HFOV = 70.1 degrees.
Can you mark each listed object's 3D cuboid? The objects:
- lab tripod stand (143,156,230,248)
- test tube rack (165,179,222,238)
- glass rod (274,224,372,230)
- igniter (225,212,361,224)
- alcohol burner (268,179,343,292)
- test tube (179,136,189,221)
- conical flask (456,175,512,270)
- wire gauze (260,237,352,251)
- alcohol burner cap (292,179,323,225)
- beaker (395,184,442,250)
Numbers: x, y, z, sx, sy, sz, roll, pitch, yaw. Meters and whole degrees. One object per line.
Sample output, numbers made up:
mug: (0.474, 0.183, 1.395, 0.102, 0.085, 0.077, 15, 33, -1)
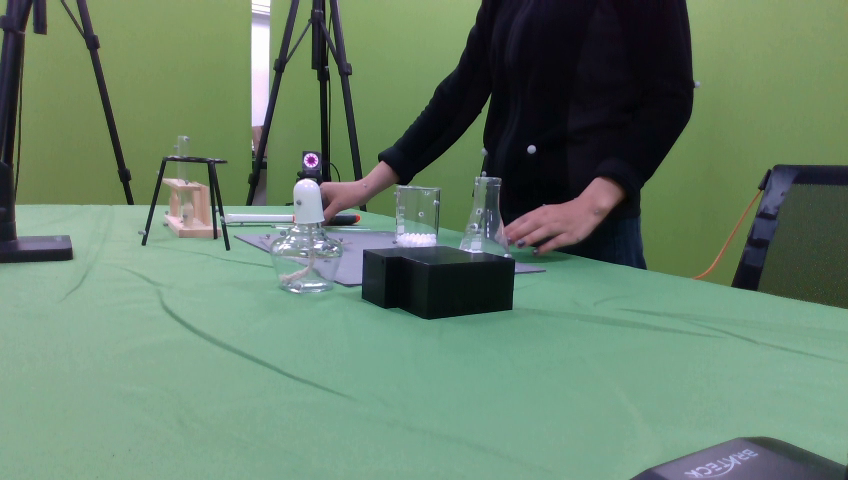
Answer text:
lab tripod stand: (-0.338, -0.058, 0.908, 0.148, 0.131, 0.148, 4, 7, 0)
test tube rack: (-0.423, -0.062, 1.098, 0.067, 0.085, 0.241, -2, 9, -28)
glass rod: (-0.193, -0.024, 1.176, 0.201, 0.008, 0.008, 1, 7, -31)
igniter: (-0.262, -0.045, 1.240, 0.278, 0.025, 0.057, -2, -1, -31)
alcohol burner: (-0.124, -0.005, 0.637, 0.078, 0.119, 0.078, 4, 8, 0)
test tube: (-0.425, -0.108, 1.070, 0.017, 0.150, 0.017, 4, 9, 0)
conical flask: (0.082, -0.025, 0.801, 0.075, 0.122, 0.075, 2, 7, 0)
wire gauze: (-0.184, 0.004, 0.938, 0.122, 0.011, 0.124, -1, 5, -24)
alcohol burner cap: (-0.124, -0.040, 0.632, 0.034, 0.048, 0.034, -3, 10, 1)
beaker: (-0.009, -0.038, 0.968, 0.074, 0.100, 0.084, 6, 8, 21)
